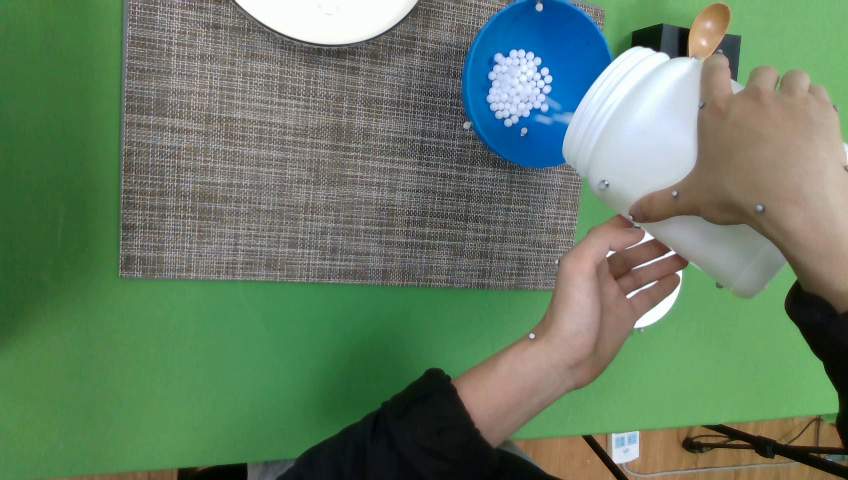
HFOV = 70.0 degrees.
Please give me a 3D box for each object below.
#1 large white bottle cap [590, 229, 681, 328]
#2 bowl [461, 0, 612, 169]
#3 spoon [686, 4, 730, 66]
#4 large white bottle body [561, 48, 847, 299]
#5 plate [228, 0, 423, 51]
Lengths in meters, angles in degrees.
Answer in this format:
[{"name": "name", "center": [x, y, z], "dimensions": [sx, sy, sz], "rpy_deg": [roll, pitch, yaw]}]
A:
[{"name": "large white bottle cap", "center": [0.245, 0.045, 0.696], "dimensions": [0.115, 0.018, 0.115], "rpy_deg": [-3, 100, -18]}, {"name": "bowl", "center": [0.096, -0.144, 0.581], "dimensions": [0.152, 0.076, 0.151], "rpy_deg": [-3, 100, -17]}, {"name": "spoon", "center": [0.263, -0.144, 0.622], "dimensions": [0.042, 0.021, 0.194], "rpy_deg": [16, 99, -22]}, {"name": "large white bottle body", "center": [0.212, -0.057, 0.472], "dimensions": [0.183, 0.132, 0.130], "rpy_deg": [41, 83, 24]}, {"name": "plate", "center": [-0.090, -0.267, 0.522], "dimensions": [0.210, 0.038, 0.209], "rpy_deg": [-2, 96, -18]}]
